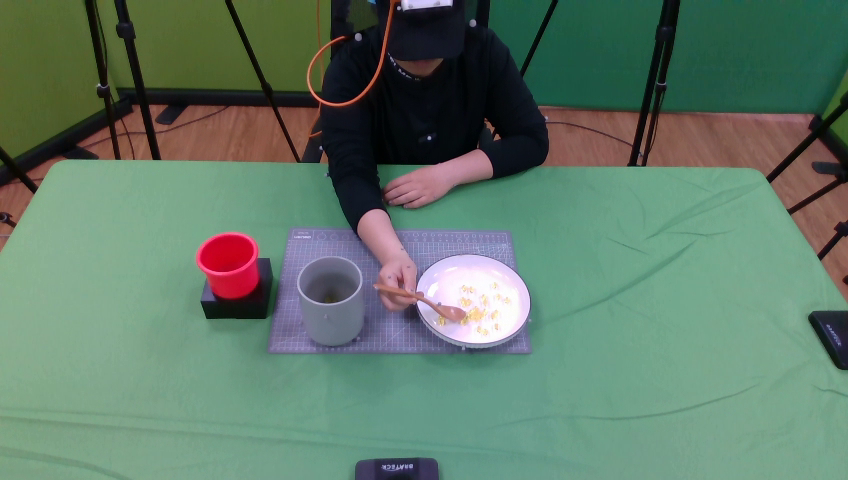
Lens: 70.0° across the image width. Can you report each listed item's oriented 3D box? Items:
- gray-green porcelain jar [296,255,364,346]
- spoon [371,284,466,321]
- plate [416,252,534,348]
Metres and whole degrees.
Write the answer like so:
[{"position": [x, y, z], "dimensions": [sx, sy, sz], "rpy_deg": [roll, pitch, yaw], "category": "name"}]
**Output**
[{"position": [-0.153, 0.106, 1.008], "dimensions": [0.106, 0.127, 0.105], "rpy_deg": [2, 46, -2], "category": "gray-green porcelain jar"}, {"position": [-0.007, 0.101, 1.009], "dimensions": [0.195, 0.021, 0.041], "rpy_deg": [26, 23, -34], "category": "spoon"}, {"position": [0.090, 0.109, 1.084], "dimensions": [0.208, 0.039, 0.206], "rpy_deg": [2, 46, -2], "category": "plate"}]
